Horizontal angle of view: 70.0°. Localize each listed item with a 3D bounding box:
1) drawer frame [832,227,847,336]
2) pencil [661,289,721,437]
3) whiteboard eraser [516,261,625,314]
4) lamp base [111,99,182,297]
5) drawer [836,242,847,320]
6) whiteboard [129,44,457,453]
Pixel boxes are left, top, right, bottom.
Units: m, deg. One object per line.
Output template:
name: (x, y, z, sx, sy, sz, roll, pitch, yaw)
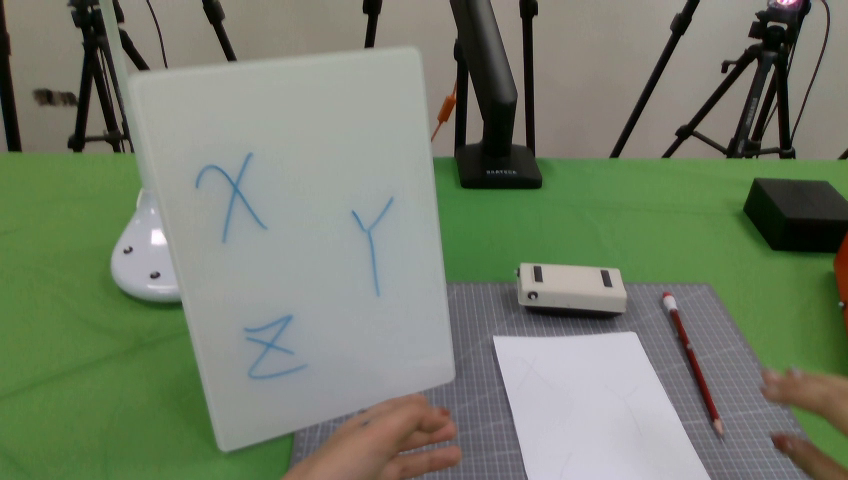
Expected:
drawer frame: (0.546, 0.077, 0.613, 0.201, 0.083, 0.212, 14, 36, 17)
pencil: (0.265, 0.115, 0.605, 0.012, 0.012, 0.192, 3, 37, 2)
whiteboard eraser: (0.158, 0.052, 0.659, 0.112, 0.042, 0.055, 4, 36, 3)
lamp base: (-0.285, -0.055, 0.670, 0.177, 0.182, 0.160, 25, 41, 33)
drawer: (0.546, 0.080, 0.611, 0.193, 0.074, 0.211, 14, 36, 18)
whiteboard: (-0.109, -0.006, 0.552, 0.218, 0.307, 0.142, -12, 18, -18)
